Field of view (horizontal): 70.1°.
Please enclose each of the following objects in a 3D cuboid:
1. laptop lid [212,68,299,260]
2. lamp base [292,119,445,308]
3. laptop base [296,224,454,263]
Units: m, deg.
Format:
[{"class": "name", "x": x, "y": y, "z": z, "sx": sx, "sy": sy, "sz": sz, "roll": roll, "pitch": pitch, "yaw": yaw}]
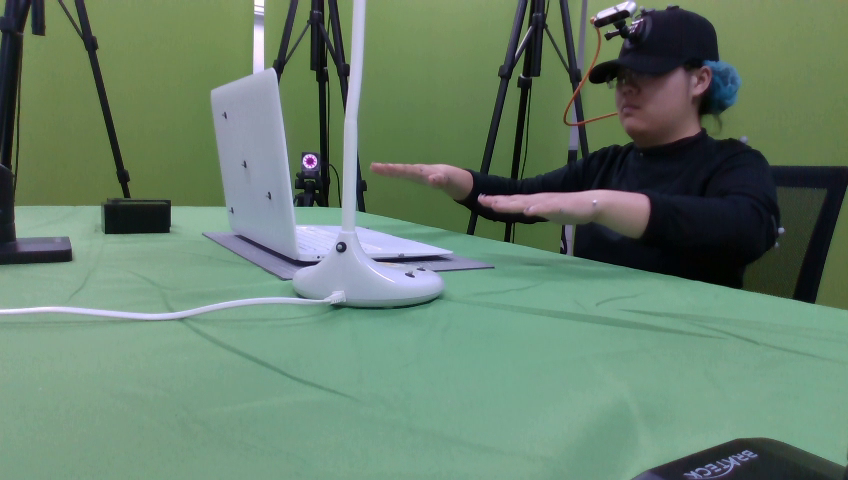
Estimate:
[{"class": "laptop lid", "x": -0.254, "y": -0.111, "z": 0.872, "sx": 0.013, "sy": 0.241, "sz": 0.355, "roll": -11, "pitch": 14, "yaw": -30}, {"class": "lamp base", "x": -0.056, "y": -0.030, "z": 0.616, "sx": 0.160, "sy": 0.180, "sz": 0.179, "roll": 4, "pitch": 10, "yaw": 8}, {"class": "laptop base", "x": -0.143, "y": 0.003, "z": 0.957, "sx": 0.237, "sy": 0.023, "sz": 0.352, "roll": 2, "pitch": 6, "yaw": -32}]
